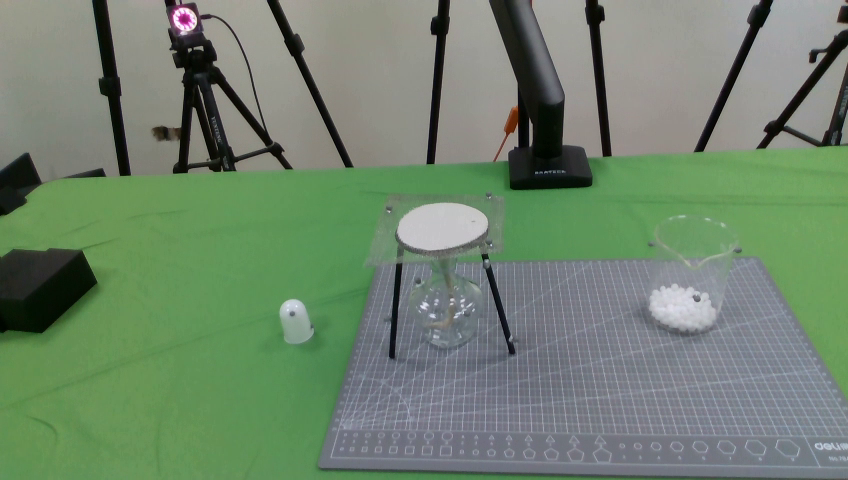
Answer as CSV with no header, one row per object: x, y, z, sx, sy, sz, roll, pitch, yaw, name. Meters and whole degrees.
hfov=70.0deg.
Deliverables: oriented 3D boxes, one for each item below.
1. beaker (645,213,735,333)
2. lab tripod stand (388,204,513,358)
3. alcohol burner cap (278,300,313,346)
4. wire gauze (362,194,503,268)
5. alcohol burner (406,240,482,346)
0.259,0.037,0.600,0.073,0.101,0.083,7,36,20,beaker
0.020,0.040,0.603,0.148,0.132,0.147,-6,32,4,lab tripod stand
-0.139,0.086,0.649,0.034,0.048,0.033,-4,34,3,alcohol burner cap
0.012,-0.014,0.562,0.121,0.011,0.124,-2,32,9,wire gauze
0.019,0.049,0.608,0.078,0.120,0.077,-3,35,2,alcohol burner
